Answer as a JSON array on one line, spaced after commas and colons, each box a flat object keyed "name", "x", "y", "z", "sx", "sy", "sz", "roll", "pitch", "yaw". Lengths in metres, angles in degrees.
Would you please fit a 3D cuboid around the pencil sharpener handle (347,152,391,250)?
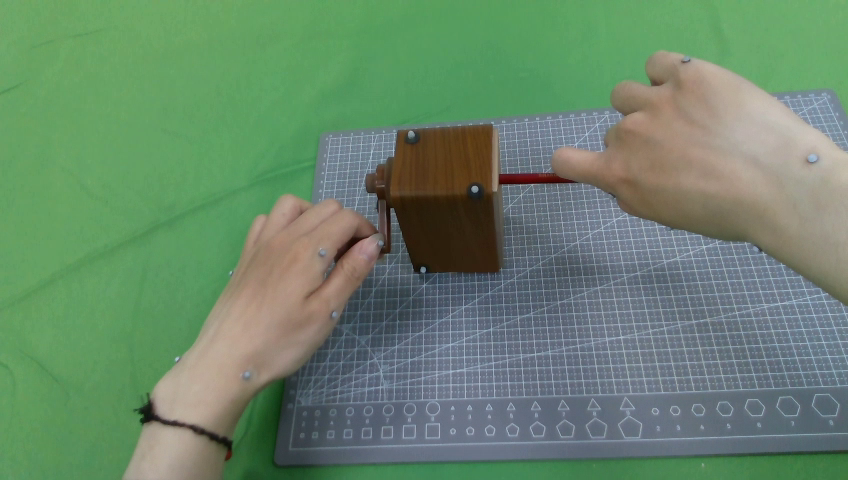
[{"name": "pencil sharpener handle", "x": -0.038, "y": -0.026, "z": 0.421, "sx": 0.030, "sy": 0.036, "sz": 0.067, "roll": -1, "pitch": 86, "yaw": 9}]

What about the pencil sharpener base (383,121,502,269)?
[{"name": "pencil sharpener base", "x": 0.017, "y": -0.028, "z": 0.438, "sx": 0.076, "sy": 0.108, "sz": 0.061, "roll": -1, "pitch": 58, "yaw": 9}]

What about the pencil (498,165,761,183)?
[{"name": "pencil", "x": 0.122, "y": -0.043, "z": 0.402, "sx": 0.194, "sy": 0.012, "sz": 0.012, "roll": 0, "pitch": 58, "yaw": 6}]
